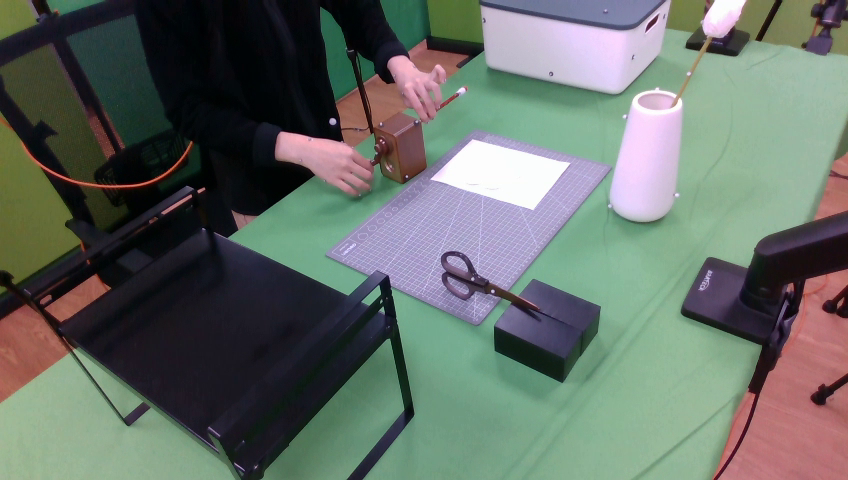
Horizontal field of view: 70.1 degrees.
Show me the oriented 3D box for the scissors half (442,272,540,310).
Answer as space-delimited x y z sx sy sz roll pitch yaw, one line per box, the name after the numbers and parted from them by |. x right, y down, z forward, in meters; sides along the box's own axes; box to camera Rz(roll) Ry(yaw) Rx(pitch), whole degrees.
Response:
0.089 0.074 0.832 0.013 0.040 0.173 -24 23 -38 | scissors half

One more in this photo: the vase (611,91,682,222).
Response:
0.348 -0.125 0.935 0.098 0.201 0.097 -3 40 3 | vase

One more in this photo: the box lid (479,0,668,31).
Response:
0.335 -0.536 1.331 0.368 0.015 0.264 23 49 30 | box lid

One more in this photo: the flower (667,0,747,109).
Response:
0.354 -0.187 0.879 0.038 0.362 0.044 31 48 14 | flower

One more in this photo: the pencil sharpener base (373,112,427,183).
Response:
-0.044 -0.169 1.115 0.061 0.107 0.077 28 52 34 | pencil sharpener base

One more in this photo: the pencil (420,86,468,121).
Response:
0.022 -0.249 1.153 0.012 0.012 0.194 27 52 33 | pencil

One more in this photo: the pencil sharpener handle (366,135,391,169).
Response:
-0.086 -0.155 1.083 0.036 0.068 0.031 44 59 12 | pencil sharpener handle

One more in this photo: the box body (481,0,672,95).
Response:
0.341 -0.480 1.381 0.361 0.161 0.255 22 48 30 | box body

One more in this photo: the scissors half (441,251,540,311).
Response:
0.087 0.056 0.824 0.013 0.040 0.173 -30 44 -35 | scissors half
